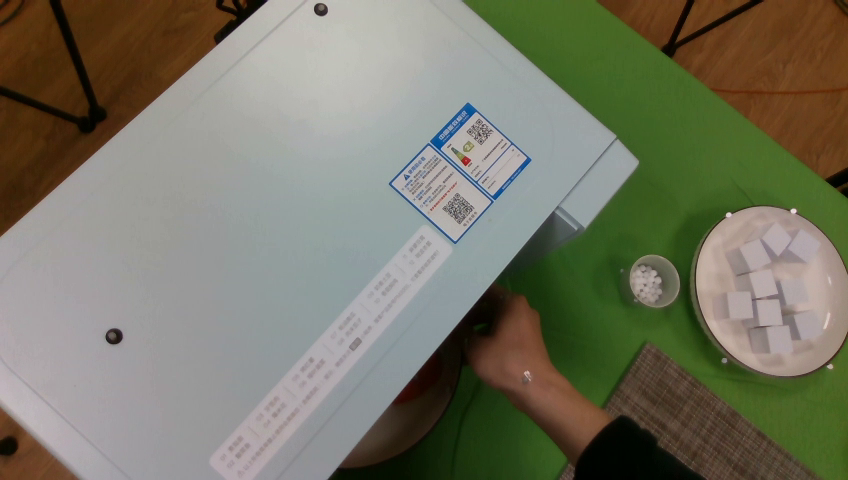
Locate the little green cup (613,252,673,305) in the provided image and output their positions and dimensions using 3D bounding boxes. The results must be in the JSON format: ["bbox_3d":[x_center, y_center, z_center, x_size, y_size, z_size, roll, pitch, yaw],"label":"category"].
[{"bbox_3d":[0.255,0.047,0.713,0.061,0.038,0.061,1,81,-6],"label":"little green cup"}]

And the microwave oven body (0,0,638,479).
[{"bbox_3d":[-0.105,0.005,0.548,0.326,0.260,0.441,42,77,1],"label":"microwave oven body"}]

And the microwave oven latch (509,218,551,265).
[{"bbox_3d":[0.107,-0.005,0.682,0.030,0.029,0.079,44,77,1],"label":"microwave oven latch"}]

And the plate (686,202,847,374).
[{"bbox_3d":[0.411,0.057,0.735,0.208,0.039,0.206,2,79,-8],"label":"plate"}]

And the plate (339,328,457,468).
[{"bbox_3d":[-0.074,0.102,0.566,0.209,0.038,0.208,1,79,-6],"label":"plate"}]

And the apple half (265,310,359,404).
[{"bbox_3d":[-0.101,0.108,0.539,0.074,0.053,0.081,-32,97,-4],"label":"apple half"}]

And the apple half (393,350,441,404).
[{"bbox_3d":[-0.023,0.113,0.560,0.081,0.033,0.081,2,75,-5],"label":"apple half"}]
